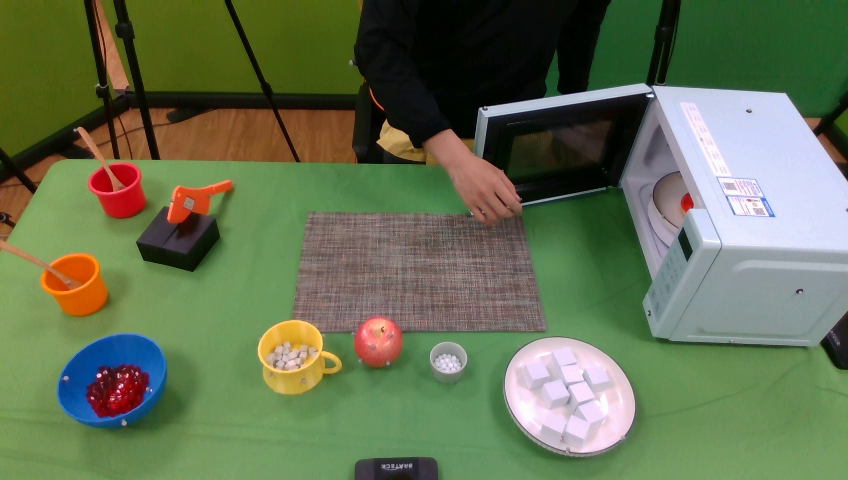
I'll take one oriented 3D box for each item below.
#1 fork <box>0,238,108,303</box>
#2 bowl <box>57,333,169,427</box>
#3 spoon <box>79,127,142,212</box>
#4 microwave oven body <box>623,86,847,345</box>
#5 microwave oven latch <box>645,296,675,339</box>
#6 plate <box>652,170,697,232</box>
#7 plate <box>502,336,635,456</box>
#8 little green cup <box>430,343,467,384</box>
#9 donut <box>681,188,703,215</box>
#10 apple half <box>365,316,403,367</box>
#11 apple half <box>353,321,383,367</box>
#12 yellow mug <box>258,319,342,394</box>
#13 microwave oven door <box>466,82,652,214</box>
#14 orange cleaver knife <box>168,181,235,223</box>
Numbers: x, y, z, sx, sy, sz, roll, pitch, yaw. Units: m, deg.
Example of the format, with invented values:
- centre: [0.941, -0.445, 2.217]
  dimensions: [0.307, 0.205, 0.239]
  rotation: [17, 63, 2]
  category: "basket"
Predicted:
- centre: [-0.633, 0.048, 1.017]
  dimensions: [0.208, 0.018, 0.028]
  rotation: [40, 41, -27]
  category: "fork"
- centre: [-0.456, 0.223, 0.912]
  dimensions: [0.151, 0.077, 0.150]
  rotation: [3, 45, -2]
  category: "bowl"
- centre: [-0.624, -0.140, 1.203]
  dimensions: [0.041, 0.021, 0.194]
  rotation: [-33, 100, -26]
  category: "spoon"
- centre: [0.567, -0.053, 1.118]
  dimensions: [0.326, 0.261, 0.439]
  rotation: [2, 45, -1]
  category: "microwave oven body"
- centre: [0.412, 0.134, 1.061]
  dimensions: [0.030, 0.029, 0.078]
  rotation: [3, 45, 0]
  category: "microwave oven latch"
- centre: [0.555, -0.059, 1.196]
  dimensions: [0.209, 0.038, 0.208]
  rotation: [2, 46, -2]
  category: "plate"
- centre: [0.225, 0.248, 0.963]
  dimensions: [0.208, 0.039, 0.206]
  rotation: [2, 46, -2]
  category: "plate"
- centre: [0.039, 0.203, 0.993]
  dimensions: [0.061, 0.039, 0.061]
  rotation: [2, 46, -2]
  category: "little green cup"
- centre: [0.554, -0.064, 1.185]
  dimensions: [0.099, 0.048, 0.098]
  rotation: [1, 44, -1]
  category: "donut"
- centre: [-0.063, 0.165, 1.000]
  dimensions: [0.053, 0.075, 0.080]
  rotation: [-16, 45, -24]
  category: "apple half"
- centre: [-0.097, 0.177, 0.984]
  dimensions: [0.033, 0.081, 0.081]
  rotation: [-17, 49, -25]
  category: "apple half"
- centre: [-0.195, 0.188, 0.972]
  dimensions: [0.131, 0.064, 0.099]
  rotation: [9, 47, 4]
  category: "yellow mug"
- centre: [0.266, -0.183, 1.216]
  dimensions: [0.356, 0.245, 0.039]
  rotation: [-12, 48, -15]
  category: "microwave oven door"
- centre: [-0.436, -0.078, 1.196]
  dimensions: [0.012, 0.077, 0.211]
  rotation: [16, 15, 10]
  category: "orange cleaver knife"
